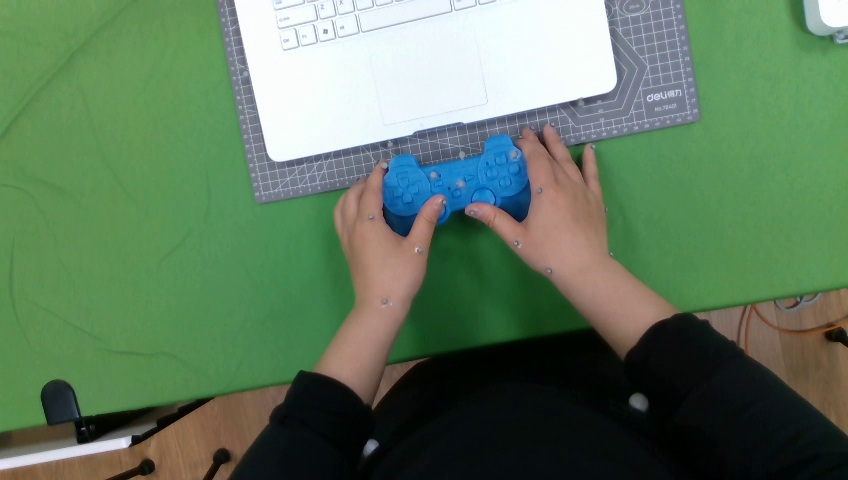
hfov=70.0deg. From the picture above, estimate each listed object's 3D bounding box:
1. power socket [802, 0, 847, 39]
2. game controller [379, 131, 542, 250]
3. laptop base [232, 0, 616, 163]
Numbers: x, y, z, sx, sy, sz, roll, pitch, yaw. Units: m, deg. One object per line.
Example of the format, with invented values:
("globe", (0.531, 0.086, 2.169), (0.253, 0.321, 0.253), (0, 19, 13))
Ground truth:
("power socket", (0.371, -0.298, 0.540), (0.072, 0.032, 0.227), (-9, 93, 8))
("game controller", (0.032, -0.047, 0.583), (0.155, 0.051, 0.097), (-11, 97, 6))
("laptop base", (-0.010, -0.226, 0.594), (0.354, 0.023, 0.236), (-11, 96, 7))
